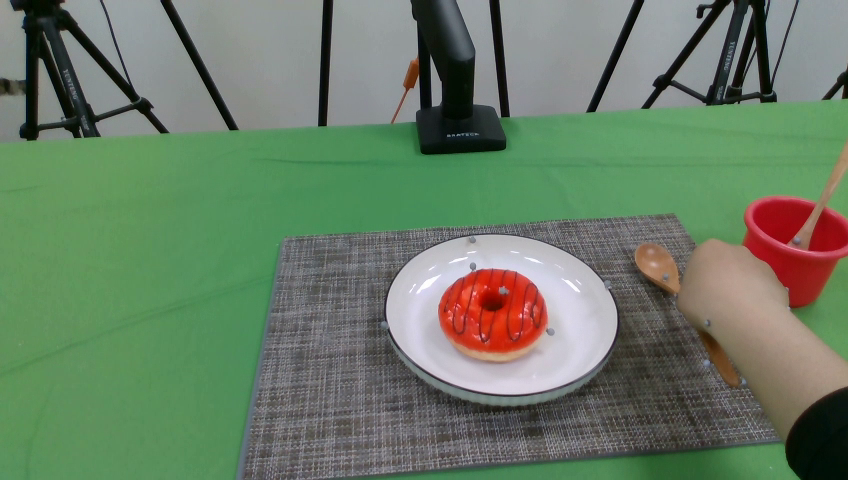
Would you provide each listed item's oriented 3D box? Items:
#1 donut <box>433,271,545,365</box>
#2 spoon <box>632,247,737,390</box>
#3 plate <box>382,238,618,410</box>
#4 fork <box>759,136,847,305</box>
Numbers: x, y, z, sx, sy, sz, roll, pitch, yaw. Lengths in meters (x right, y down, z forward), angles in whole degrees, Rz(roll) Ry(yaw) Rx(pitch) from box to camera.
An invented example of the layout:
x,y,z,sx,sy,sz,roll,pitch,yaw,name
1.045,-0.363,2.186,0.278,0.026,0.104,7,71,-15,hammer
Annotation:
x,y,z,sx,sy,sz,roll,pitch,yaw,name
0.058,0.068,0.540,0.099,0.049,0.098,-1,41,2,donut
0.238,0.064,0.560,0.041,0.022,0.192,1,30,-3,spoon
0.067,0.074,0.551,0.209,0.038,0.207,0,37,1,plate
0.385,-0.029,0.595,0.028,0.019,0.207,28,89,31,fork
